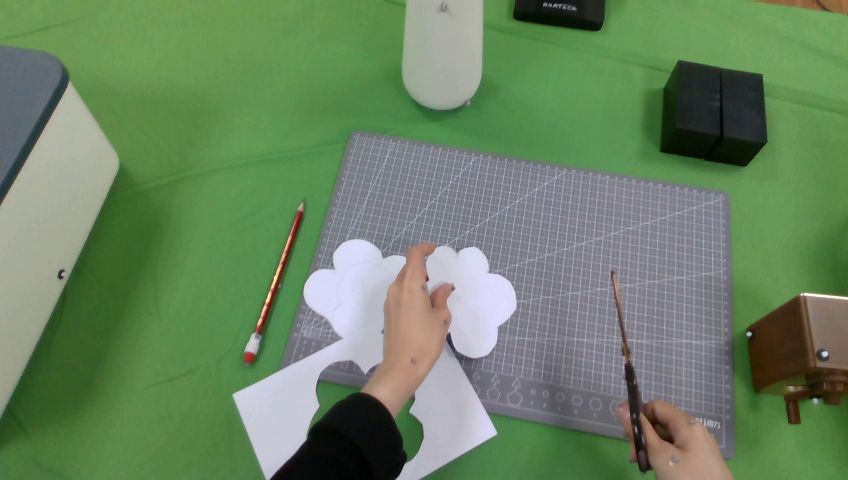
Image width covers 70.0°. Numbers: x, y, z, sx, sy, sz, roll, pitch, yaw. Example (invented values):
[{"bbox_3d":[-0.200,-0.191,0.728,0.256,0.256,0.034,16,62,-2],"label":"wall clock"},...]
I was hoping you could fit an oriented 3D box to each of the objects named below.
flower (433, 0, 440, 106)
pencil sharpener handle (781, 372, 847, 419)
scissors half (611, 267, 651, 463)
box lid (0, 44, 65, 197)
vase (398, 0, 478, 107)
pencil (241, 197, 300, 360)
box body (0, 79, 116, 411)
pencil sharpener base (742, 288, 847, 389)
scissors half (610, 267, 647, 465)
[{"bbox_3d":[0.013,-0.289,0.606,0.044,0.365,0.038,3,47,4],"label":"flower"},{"bbox_3d":[0.350,0.141,0.543,0.036,0.068,0.030,11,65,-11],"label":"pencil sharpener handle"},{"bbox_3d":[0.184,0.109,0.546,0.012,0.040,0.174,-11,78,24],"label":"scissors half"},{"bbox_3d":[-0.493,-0.035,0.504,0.263,0.015,0.369,10,65,3],"label":"box lid"},{"bbox_3d":[0.016,-0.241,0.675,0.098,0.201,0.097,0,63,0],"label":"vase"},{"bbox_3d":[-0.160,0.035,0.648,0.012,0.012,0.192,10,63,4],"label":"pencil"},{"bbox_3d":[-0.494,0.000,0.571,0.254,0.161,0.361,10,65,3],"label":"box body"},{"bbox_3d":[0.359,0.101,0.575,0.061,0.108,0.076,6,65,2],"label":"pencil sharpener base"},{"bbox_3d":[0.175,0.104,0.528,0.013,0.040,0.173,-10,61,19],"label":"scissors half"}]
